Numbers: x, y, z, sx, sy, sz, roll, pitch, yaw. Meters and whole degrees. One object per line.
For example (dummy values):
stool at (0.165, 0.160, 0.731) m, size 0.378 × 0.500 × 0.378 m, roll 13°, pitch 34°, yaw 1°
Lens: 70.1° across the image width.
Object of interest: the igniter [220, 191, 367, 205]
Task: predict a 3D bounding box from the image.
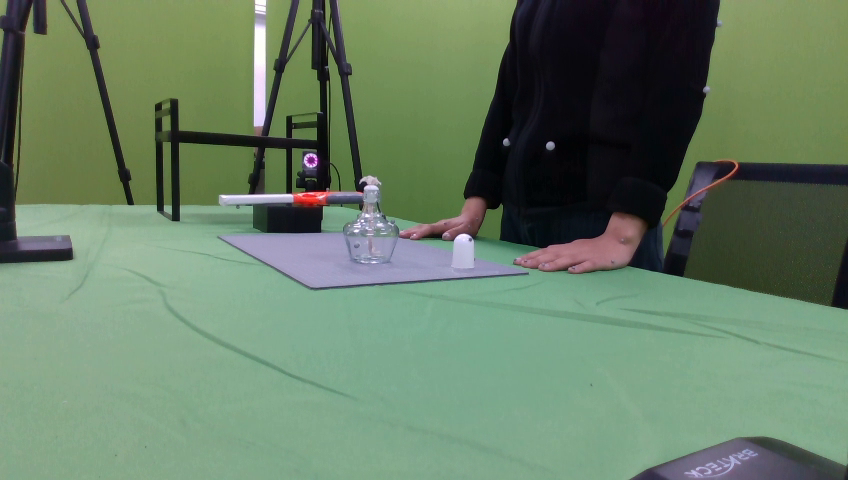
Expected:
igniter at (-0.243, -0.079, 1.152) m, size 0.278 × 0.025 × 0.057 m, roll -3°, pitch 12°, yaw -26°

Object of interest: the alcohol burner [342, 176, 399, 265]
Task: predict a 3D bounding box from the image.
alcohol burner at (-0.073, -0.027, 0.818) m, size 0.078 × 0.119 × 0.078 m, roll 1°, pitch 6°, yaw 0°

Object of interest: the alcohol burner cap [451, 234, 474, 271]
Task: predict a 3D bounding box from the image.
alcohol burner cap at (0.052, 0.016, 0.808) m, size 0.034 × 0.048 × 0.034 m, roll 3°, pitch 9°, yaw 0°
